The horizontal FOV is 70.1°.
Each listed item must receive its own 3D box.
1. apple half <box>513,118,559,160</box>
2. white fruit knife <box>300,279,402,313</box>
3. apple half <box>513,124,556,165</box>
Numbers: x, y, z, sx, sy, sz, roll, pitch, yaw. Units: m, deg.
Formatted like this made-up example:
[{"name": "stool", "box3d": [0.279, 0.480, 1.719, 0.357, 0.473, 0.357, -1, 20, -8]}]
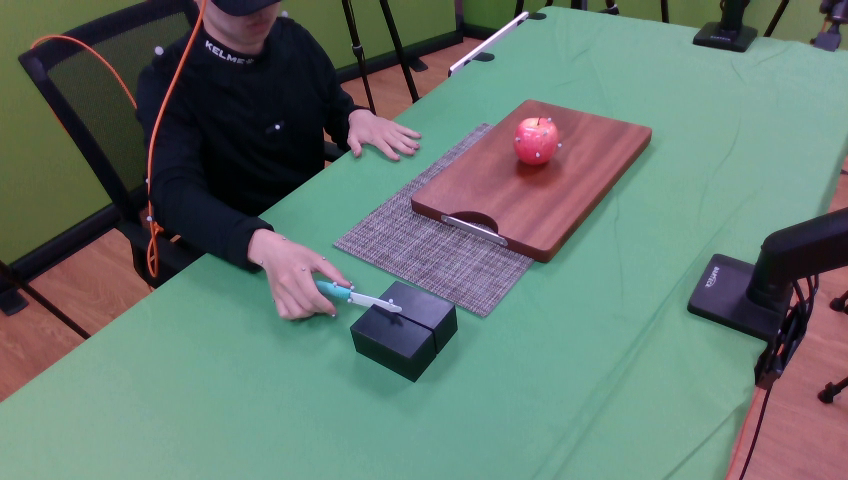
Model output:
[{"name": "apple half", "box3d": [0.203, -0.180, 1.067, 0.080, 0.075, 0.053, 12, 40, 26]}, {"name": "white fruit knife", "box3d": [-0.107, 0.078, 0.847, 0.205, 0.027, 0.016, 8, 41, 38]}, {"name": "apple half", "box3d": [0.185, -0.157, 1.041, 0.081, 0.081, 0.033, 14, 41, 24]}]
